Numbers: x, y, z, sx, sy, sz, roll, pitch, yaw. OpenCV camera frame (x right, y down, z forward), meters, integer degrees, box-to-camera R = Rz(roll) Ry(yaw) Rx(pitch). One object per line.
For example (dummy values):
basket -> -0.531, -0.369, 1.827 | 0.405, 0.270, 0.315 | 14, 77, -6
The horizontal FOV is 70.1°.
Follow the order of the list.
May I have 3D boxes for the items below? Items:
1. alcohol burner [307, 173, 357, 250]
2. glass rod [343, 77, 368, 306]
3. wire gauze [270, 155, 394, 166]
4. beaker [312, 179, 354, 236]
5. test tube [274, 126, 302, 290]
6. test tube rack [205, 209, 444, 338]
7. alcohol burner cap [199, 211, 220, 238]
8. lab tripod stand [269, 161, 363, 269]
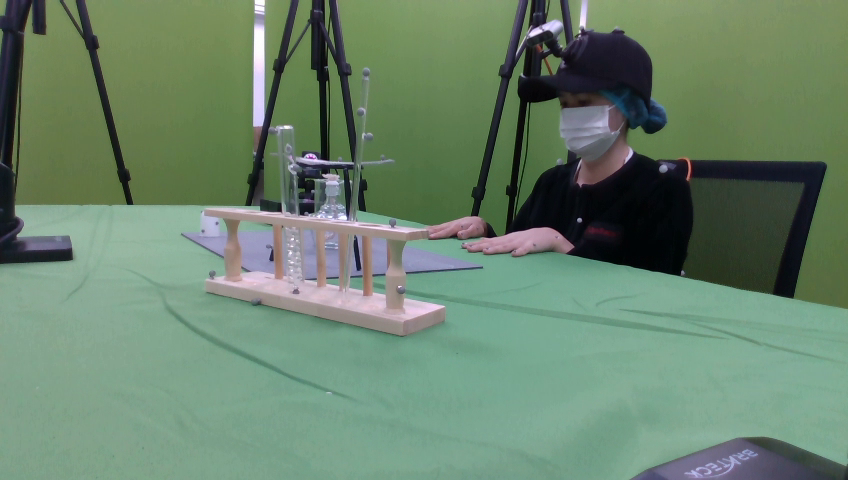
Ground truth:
alcohol burner -> -0.144, -0.045, 0.940 | 0.078, 0.119, 0.078 | 1, 8, 0
glass rod -> -0.059, -0.038, 0.518 | 0.008, 0.199, 0.008 | 6, 8, 0
wire gauze -> -0.121, -0.102, 0.785 | 0.122, 0.011, 0.124 | -3, 10, -39
beaker -> -0.167, -0.059, 1.103 | 0.074, 0.100, 0.084 | 1, 8, -11
test tube -> -0.123, -0.028, 0.552 | 0.017, 0.150, 0.017 | -2, 7, 1
test tube rack -> -0.100, 0.021, 0.565 | 0.241, 0.085, 0.067 | 7, 9, 32
alcohol burner cap -> -0.355, -0.027, 1.002 | 0.034, 0.048, 0.034 | 2, 7, 0
lab tripod stand -> -0.125, -0.036, 0.794 | 0.148, 0.131, 0.148 | 5, 7, 0
